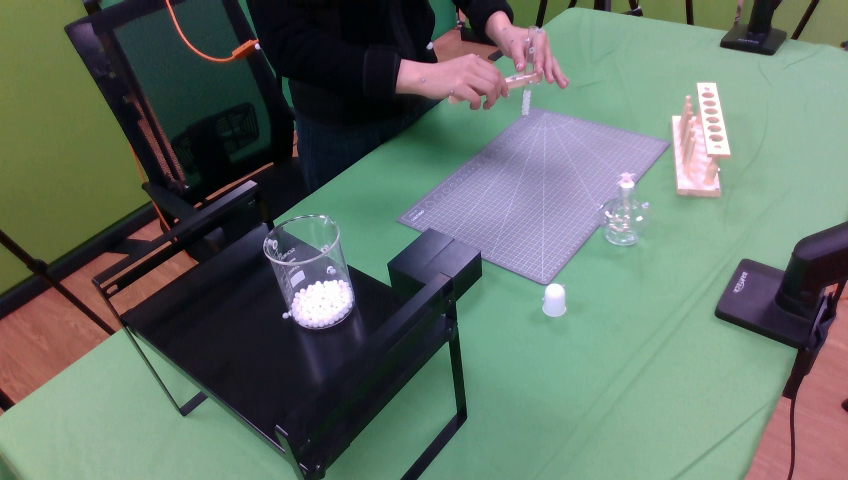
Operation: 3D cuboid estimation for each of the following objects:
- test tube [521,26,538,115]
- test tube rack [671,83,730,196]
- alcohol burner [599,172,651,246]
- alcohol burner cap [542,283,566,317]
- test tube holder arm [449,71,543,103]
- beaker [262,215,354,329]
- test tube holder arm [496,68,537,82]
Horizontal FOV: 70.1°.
[{"bbox_3d":[0.177,-0.281,1.013,0.017,0.150,0.017,0,34,0],"label":"test tube"},{"bbox_3d":[0.482,-0.184,1.067,0.066,0.085,0.242,6,42,15],"label":"test tube rack"},{"bbox_3d":[0.306,-0.051,0.918,0.078,0.119,0.077,-6,41,5],"label":"alcohol burner"},{"bbox_3d":[0.181,0.081,0.840,0.034,0.048,0.033,-4,40,4],"label":"alcohol burner cap"},{"bbox_3d":[0.120,-0.251,0.987,0.179,0.015,0.013,-20,38,-23],"label":"test tube holder arm"},{"bbox_3d":[-0.112,0.034,0.616,0.073,0.101,0.084,13,44,23],"label":"beaker"},{"bbox_3d":[0.155,-0.269,1.010,0.088,0.015,0.010,-25,41,-29],"label":"test tube holder arm"}]
